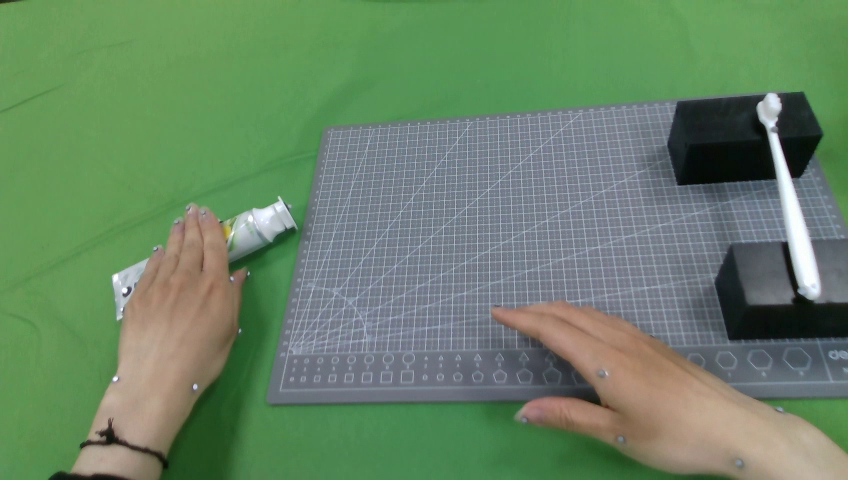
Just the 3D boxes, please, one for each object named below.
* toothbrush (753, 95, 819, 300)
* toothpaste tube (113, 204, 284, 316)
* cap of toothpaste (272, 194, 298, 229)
[{"bbox_3d":[0.260,-0.038,0.436,0.014,0.017,0.180,10,57,-1],"label":"toothbrush"},{"bbox_3d":[-0.200,0.010,0.542,0.165,0.035,0.054,-26,48,-5],"label":"toothpaste tube"},{"bbox_3d":[-0.127,-0.024,0.547,0.011,0.038,0.037,-30,54,-12],"label":"cap of toothpaste"}]
